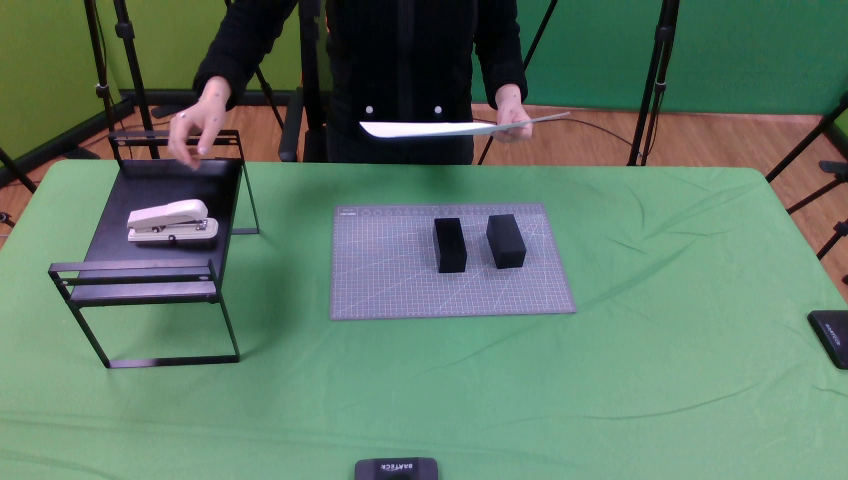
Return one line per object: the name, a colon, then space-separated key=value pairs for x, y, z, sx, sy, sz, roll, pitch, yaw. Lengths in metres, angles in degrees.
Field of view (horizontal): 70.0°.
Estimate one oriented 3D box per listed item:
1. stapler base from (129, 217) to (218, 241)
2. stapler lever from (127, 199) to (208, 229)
stapler base: x=-0.390 y=-0.023 z=0.940 sx=0.131 sy=0.024 sz=0.041 roll=-4 pitch=44 yaw=-6
stapler lever: x=-0.391 y=-0.039 z=0.922 sx=0.118 sy=0.040 sz=0.026 roll=-3 pitch=43 yaw=-6
